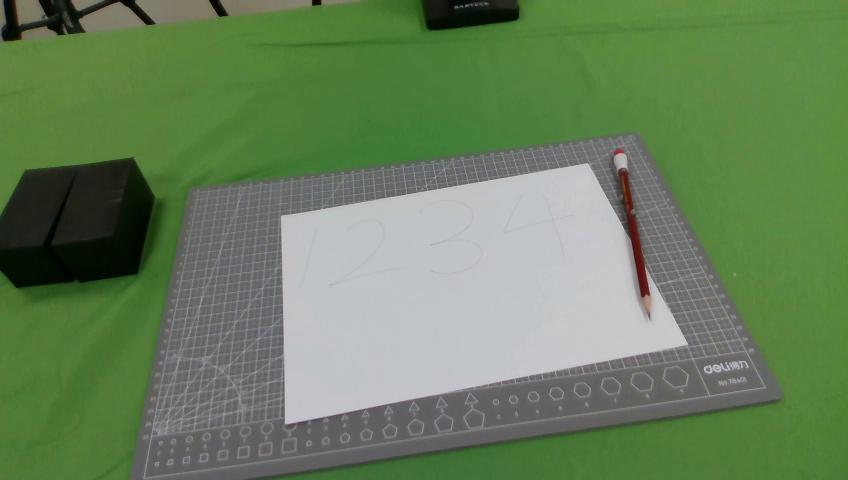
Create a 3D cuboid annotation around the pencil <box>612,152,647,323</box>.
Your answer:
[{"bbox_3d":[0.178,-0.010,0.525,0.012,0.012,0.192,2,50,6],"label":"pencil"}]
